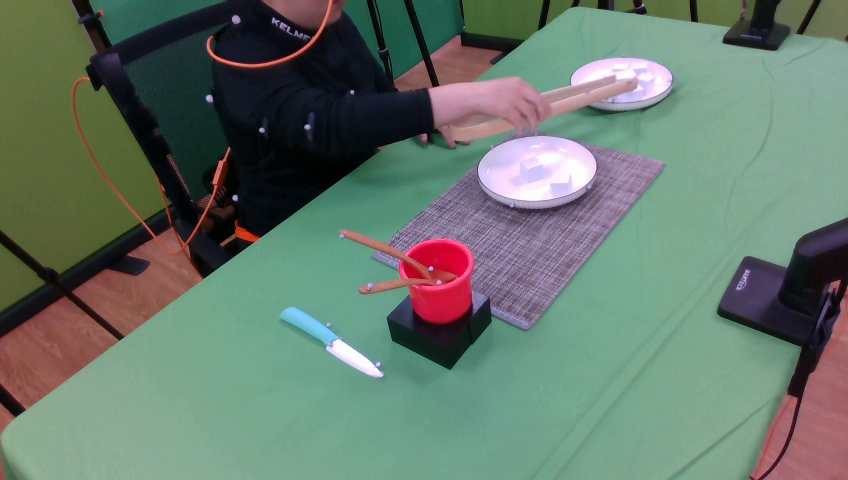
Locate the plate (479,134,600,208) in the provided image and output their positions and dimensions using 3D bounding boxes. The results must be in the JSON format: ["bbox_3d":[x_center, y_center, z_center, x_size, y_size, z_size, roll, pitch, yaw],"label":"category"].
[{"bbox_3d":[0.202,-0.117,1.065,0.207,0.039,0.206,-5,40,5],"label":"plate"}]

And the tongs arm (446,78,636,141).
[{"bbox_3d":[0.222,-0.245,1.112,0.386,0.026,0.050,-21,37,-19],"label":"tongs arm"}]

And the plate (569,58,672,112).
[{"bbox_3d":[0.411,-0.323,1.274,0.209,0.038,0.208,-5,41,5],"label":"plate"}]

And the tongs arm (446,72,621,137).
[{"bbox_3d":[0.212,-0.258,1.134,0.389,0.028,0.028,-19,40,-16],"label":"tongs arm"}]

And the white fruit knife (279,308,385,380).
[{"bbox_3d":[-0.130,0.143,0.845,0.205,0.016,0.027,25,79,32],"label":"white fruit knife"}]

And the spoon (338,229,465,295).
[{"bbox_3d":[-0.025,0.026,0.776,0.021,0.195,0.041,-41,34,32],"label":"spoon"}]

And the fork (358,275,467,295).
[{"bbox_3d":[-0.009,0.056,0.739,0.028,0.018,0.209,48,23,26],"label":"fork"}]
